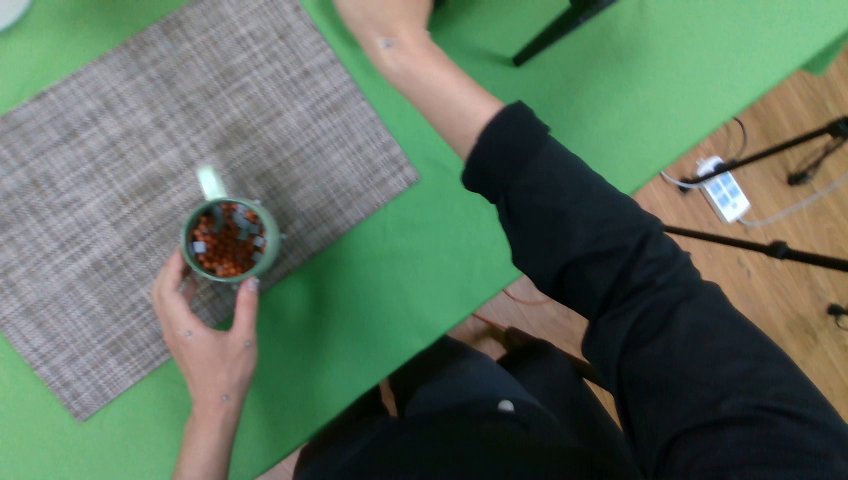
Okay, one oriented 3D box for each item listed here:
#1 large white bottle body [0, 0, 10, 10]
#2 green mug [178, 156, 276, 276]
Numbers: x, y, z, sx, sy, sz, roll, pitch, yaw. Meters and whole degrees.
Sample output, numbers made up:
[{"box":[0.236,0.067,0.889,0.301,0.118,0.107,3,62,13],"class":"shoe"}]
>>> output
[{"box":[-0.453,-0.273,0.513,0.131,0.184,0.130,0,91,-12],"class":"large white bottle body"},{"box":[-0.204,-0.024,0.613,0.092,0.104,0.125,-20,95,-12],"class":"green mug"}]
